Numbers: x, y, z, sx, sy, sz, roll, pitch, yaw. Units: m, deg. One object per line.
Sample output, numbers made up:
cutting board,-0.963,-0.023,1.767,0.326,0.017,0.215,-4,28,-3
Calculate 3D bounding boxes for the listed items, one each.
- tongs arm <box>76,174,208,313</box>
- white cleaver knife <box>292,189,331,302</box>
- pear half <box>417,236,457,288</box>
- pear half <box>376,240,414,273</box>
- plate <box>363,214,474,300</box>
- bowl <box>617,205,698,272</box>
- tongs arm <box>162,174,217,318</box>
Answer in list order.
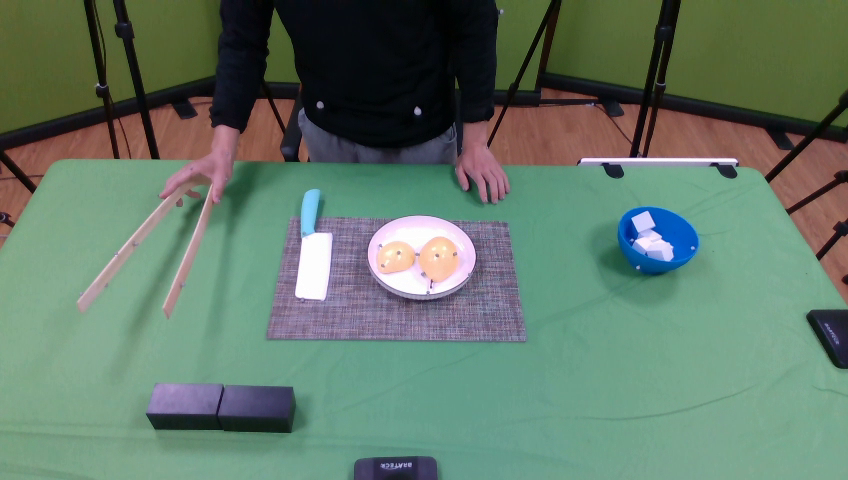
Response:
tongs arm,-0.484,-0.009,1.077,0.051,0.026,0.382,4,37,6
white cleaver knife,-0.215,0.006,1.178,0.066,0.021,0.284,5,49,-12
pear half,0.022,0.039,1.127,0.076,0.056,0.109,6,50,7
pear half,-0.058,0.026,1.146,0.070,0.031,0.088,23,43,22
plate,-0.010,0.036,1.146,0.208,0.039,0.206,2,46,-2
bowl,0.443,0.010,1.182,0.151,0.077,0.150,2,46,-2
tongs arm,-0.411,-0.006,1.075,0.028,0.028,0.385,-6,38,-1
